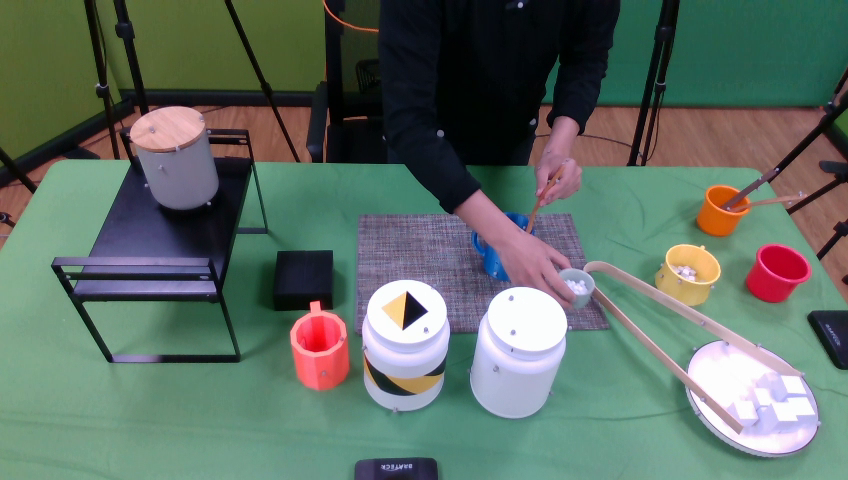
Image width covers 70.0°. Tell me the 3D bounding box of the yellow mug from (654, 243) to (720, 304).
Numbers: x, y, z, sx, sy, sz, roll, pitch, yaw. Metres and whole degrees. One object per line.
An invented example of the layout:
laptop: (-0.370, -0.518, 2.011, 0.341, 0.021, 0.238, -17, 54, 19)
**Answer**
yellow mug: (0.504, 0.054, 1.154, 0.099, 0.064, 0.130, 28, 49, 22)

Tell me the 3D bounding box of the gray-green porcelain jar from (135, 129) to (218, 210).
gray-green porcelain jar: (-0.388, -0.120, 0.960, 0.106, 0.127, 0.105, 2, 46, -2)

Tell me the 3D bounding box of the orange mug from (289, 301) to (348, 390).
orange mug: (-0.170, 0.162, 0.976, 0.083, 0.101, 0.125, -7, 52, -11)

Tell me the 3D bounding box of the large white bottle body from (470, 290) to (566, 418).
large white bottle body: (0.143, 0.173, 0.930, 0.131, 0.185, 0.130, 2, 46, -2)

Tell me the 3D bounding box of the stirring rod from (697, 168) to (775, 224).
stirring rod: (0.644, -0.090, 1.252, 0.176, 0.006, 0.014, -39, 53, 16)

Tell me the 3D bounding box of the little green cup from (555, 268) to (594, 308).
little green cup: (0.243, 0.079, 0.991, 0.061, 0.039, 0.061, 3, 40, -2)

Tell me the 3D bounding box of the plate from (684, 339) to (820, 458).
plate: (0.523, 0.256, 0.982, 0.208, 0.039, 0.206, 2, 46, -2)

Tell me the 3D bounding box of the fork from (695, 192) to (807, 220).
fork: (0.655, -0.069, 1.224, 0.207, 0.019, 0.028, -17, 34, 45)

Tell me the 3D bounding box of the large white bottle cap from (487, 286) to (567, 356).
large white bottle cap: (0.147, 0.114, 0.869, 0.115, 0.018, 0.114, 3, 46, -3)

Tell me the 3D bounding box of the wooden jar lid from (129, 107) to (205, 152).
wooden jar lid: (-0.385, -0.163, 0.915, 0.108, 0.021, 0.107, 2, 47, -2)

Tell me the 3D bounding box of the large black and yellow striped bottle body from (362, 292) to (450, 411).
large black and yellow striped bottle body: (-0.029, 0.163, 0.928, 0.131, 0.185, 0.130, 2, 47, -2)

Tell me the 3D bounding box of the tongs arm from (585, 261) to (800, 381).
tongs arm: (0.452, 0.137, 1.064, 0.051, 0.027, 0.382, -34, 50, -27)

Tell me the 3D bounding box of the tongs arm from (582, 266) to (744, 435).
tongs arm: (0.384, 0.173, 1.029, 0.028, 0.028, 0.385, -25, 46, -15)

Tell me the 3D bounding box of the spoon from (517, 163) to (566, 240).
spoon: (0.200, -0.056, 1.077, 0.021, 0.194, 0.041, 29, 31, 10)

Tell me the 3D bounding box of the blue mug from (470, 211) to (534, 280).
blue mug: (0.142, 0.005, 1.140, 0.116, 0.106, 0.082, 20, 48, 14)

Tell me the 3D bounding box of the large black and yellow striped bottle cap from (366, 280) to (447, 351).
large black and yellow striped bottle cap: (-0.025, 0.106, 0.865, 0.115, 0.019, 0.114, 2, 46, -1)
